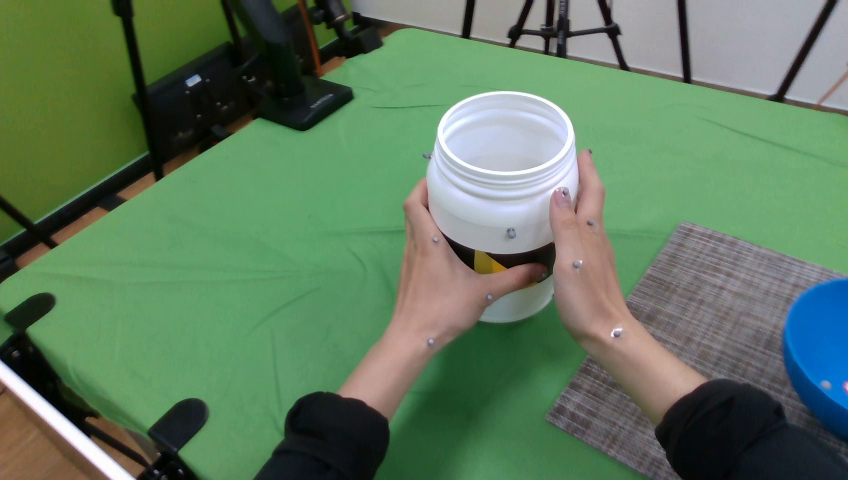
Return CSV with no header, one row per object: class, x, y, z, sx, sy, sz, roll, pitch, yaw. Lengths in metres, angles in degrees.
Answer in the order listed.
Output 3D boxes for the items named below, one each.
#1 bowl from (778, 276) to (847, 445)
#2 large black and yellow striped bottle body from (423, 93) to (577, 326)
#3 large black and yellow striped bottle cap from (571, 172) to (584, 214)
bowl,0.345,0.107,0.463,0.151,0.077,0.150,-4,42,4
large black and yellow striped bottle body,0.066,-0.024,0.545,0.131,0.186,0.129,-1,48,2
large black and yellow striped bottle cap,0.136,-0.063,0.739,0.115,0.019,0.114,-3,42,3
